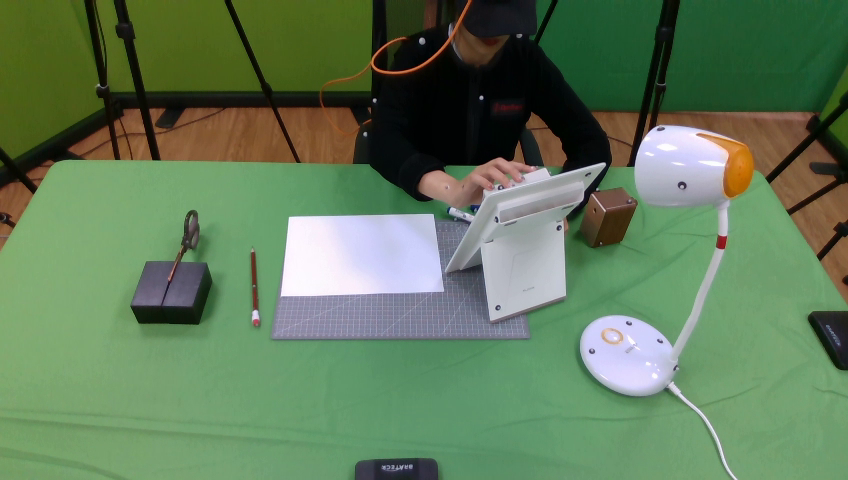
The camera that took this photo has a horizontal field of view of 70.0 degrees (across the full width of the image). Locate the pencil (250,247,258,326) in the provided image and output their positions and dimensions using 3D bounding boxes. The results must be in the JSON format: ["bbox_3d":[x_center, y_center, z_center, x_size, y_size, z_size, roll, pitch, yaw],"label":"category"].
[{"bbox_3d":[-0.312,0.079,1.107,0.012,0.012,0.192,-7,46,-11],"label":"pencil"}]

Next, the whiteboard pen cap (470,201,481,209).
[{"bbox_3d":[0.113,-0.073,1.280,0.033,0.018,0.018,4,46,6],"label":"whiteboard pen cap"}]

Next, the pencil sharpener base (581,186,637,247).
[{"bbox_3d":[0.369,-0.047,1.209,0.077,0.107,0.061,-11,47,-14],"label":"pencil sharpener base"}]

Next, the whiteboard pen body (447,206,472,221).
[{"bbox_3d":[0.111,-0.038,1.241,0.140,0.017,0.017,23,49,14],"label":"whiteboard pen body"}]

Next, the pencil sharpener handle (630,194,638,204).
[{"bbox_3d":[0.417,-0.068,1.215,0.031,0.068,0.036,-11,61,-14],"label":"pencil sharpener handle"}]

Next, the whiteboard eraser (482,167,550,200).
[{"bbox_3d":[0.151,-0.077,0.984,0.113,0.056,0.041,-21,69,-6],"label":"whiteboard eraser"}]

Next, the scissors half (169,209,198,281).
[{"bbox_3d":[-0.438,0.007,1.099,0.013,0.040,0.174,4,48,-5],"label":"scissors half"}]

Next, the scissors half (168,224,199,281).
[{"bbox_3d":[-0.441,0.023,1.111,0.013,0.040,0.174,9,29,-8],"label":"scissors half"}]

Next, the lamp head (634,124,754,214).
[{"bbox_3d":[0.351,-0.089,0.776,0.112,0.113,0.122,-30,30,-28],"label":"lamp head"}]

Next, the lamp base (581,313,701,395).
[{"bbox_3d":[0.361,0.144,0.973,0.178,0.181,0.160,34,53,23],"label":"lamp base"}]

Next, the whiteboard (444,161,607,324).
[{"bbox_3d":[0.186,0.025,1.029,0.217,0.306,0.143,-15,68,-18],"label":"whiteboard"}]
